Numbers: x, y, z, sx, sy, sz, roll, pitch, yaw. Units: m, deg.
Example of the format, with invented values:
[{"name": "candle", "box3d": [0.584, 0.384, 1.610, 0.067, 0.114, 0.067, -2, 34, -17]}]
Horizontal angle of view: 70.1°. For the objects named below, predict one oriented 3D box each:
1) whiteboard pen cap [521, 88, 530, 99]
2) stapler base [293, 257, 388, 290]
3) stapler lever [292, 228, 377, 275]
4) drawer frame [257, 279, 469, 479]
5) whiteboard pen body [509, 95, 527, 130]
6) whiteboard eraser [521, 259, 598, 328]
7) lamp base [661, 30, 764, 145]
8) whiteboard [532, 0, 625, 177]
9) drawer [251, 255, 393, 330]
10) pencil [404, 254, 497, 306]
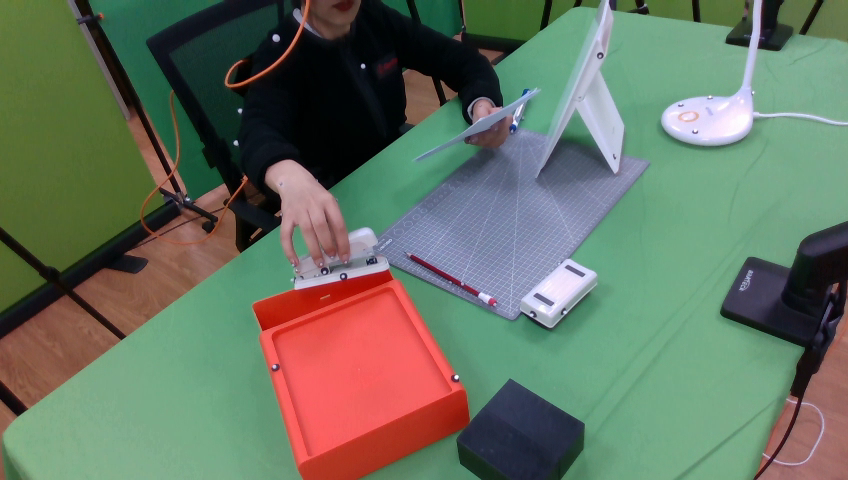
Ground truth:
[{"name": "whiteboard pen cap", "box3d": [0.219, -0.312, 1.301, 0.018, 0.018, 0.033, 6, 47, 17]}, {"name": "stapler base", "box3d": [-0.115, 0.038, 0.820, 0.131, 0.024, 0.041, -13, 16, -8]}, {"name": "stapler lever", "box3d": [-0.121, 0.014, 0.811, 0.118, 0.040, 0.026, -14, 16, -8]}, {"name": "drawer frame", "box3d": [-0.080, 0.169, 0.751, 0.202, 0.083, 0.211, -21, 42, -15]}, {"name": "whiteboard pen body", "box3d": [0.199, -0.273, 1.261, 0.017, 0.017, 0.140, 8, 44, 19]}, {"name": "whiteboard eraser", "box3d": [0.189, 0.076, 0.843, 0.055, 0.042, 0.113, 29, 53, 37]}, {"name": "lamp base", "box3d": [0.535, -0.287, 1.096, 0.179, 0.181, 0.159, -10, 40, -4]}, {"name": "whiteboard", "box3d": [0.321, -0.258, 1.050, 0.144, 0.306, 0.217, 21, 45, 5]}, {"name": "drawer", "box3d": [-0.105, 0.135, 0.799, 0.195, 0.073, 0.210, -20, 42, -14]}, {"name": "pencil", "box3d": [0.034, 0.056, 0.914, 0.192, 0.012, 0.012, 27, 52, 38]}]
